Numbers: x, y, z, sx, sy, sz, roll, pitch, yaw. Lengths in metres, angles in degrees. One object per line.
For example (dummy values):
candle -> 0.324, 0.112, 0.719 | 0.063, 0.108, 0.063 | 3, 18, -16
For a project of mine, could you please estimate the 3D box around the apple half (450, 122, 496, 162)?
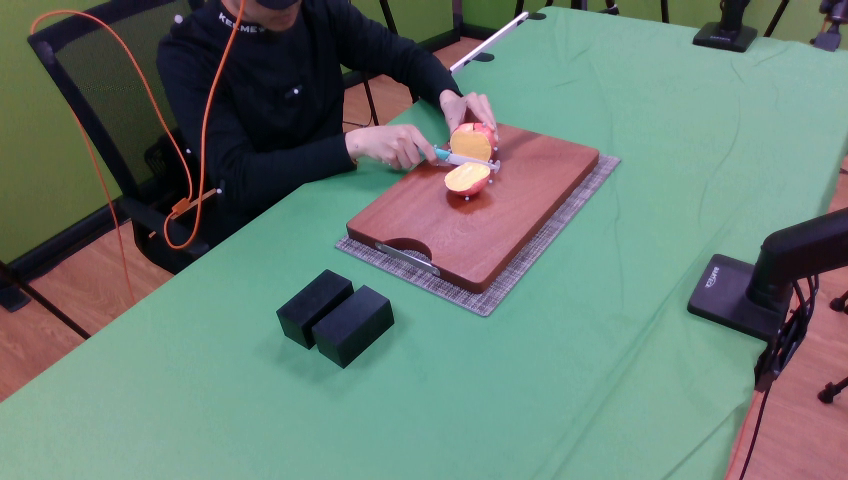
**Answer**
apple half -> 0.093, -0.174, 1.074 | 0.080, 0.075, 0.053 | 8, 38, 24

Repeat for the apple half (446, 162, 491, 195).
apple half -> 0.076, -0.099, 1.020 | 0.081, 0.033, 0.081 | -16, 36, 12

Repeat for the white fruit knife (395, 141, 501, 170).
white fruit knife -> 0.040, -0.151, 1.084 | 0.206, 0.027, 0.016 | 14, 48, 19
